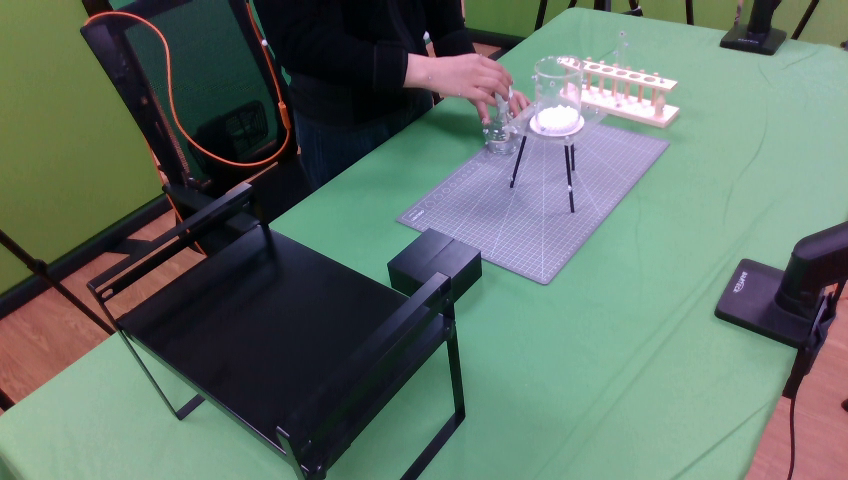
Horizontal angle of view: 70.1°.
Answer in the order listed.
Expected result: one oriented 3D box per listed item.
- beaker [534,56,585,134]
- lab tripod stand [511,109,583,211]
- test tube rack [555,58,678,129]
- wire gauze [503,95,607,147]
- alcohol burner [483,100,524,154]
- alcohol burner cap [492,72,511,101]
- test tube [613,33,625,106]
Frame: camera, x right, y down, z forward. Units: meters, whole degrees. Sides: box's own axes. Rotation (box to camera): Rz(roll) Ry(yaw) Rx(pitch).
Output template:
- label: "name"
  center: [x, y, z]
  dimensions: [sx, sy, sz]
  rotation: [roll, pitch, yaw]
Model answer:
- label: "beaker"
  center: [0.209, -0.226, 0.942]
  dimensions: [0.074, 0.101, 0.083]
  rotation: [-2, 41, 7]
- label: "lab tripod stand"
  center: [0.220, -0.138, 1.014]
  dimensions: [0.148, 0.132, 0.147]
  rotation: [-3, 41, 3]
- label: "test tube rack"
  center: [0.390, -0.307, 1.229]
  dimensions: [0.240, 0.085, 0.067]
  rotation: [25, 50, 33]
- label: "wire gauze"
  center: [0.212, -0.191, 0.976]
  dimensions: [0.120, 0.011, 0.125]
  rotation: [24, 52, 32]
- label: "alcohol burner"
  center: [0.149, -0.222, 1.141]
  dimensions: [0.078, 0.119, 0.077]
  rotation: [-5, 42, 5]
- label: "alcohol burner cap"
  center: [0.136, -0.276, 1.083]
  dimensions: [0.034, 0.048, 0.033]
  rotation: [-11, 35, 8]
- label: "test tube"
  center: [0.380, -0.330, 1.180]
  dimensions: [0.017, 0.151, 0.017]
  rotation: [-7, 41, 6]
